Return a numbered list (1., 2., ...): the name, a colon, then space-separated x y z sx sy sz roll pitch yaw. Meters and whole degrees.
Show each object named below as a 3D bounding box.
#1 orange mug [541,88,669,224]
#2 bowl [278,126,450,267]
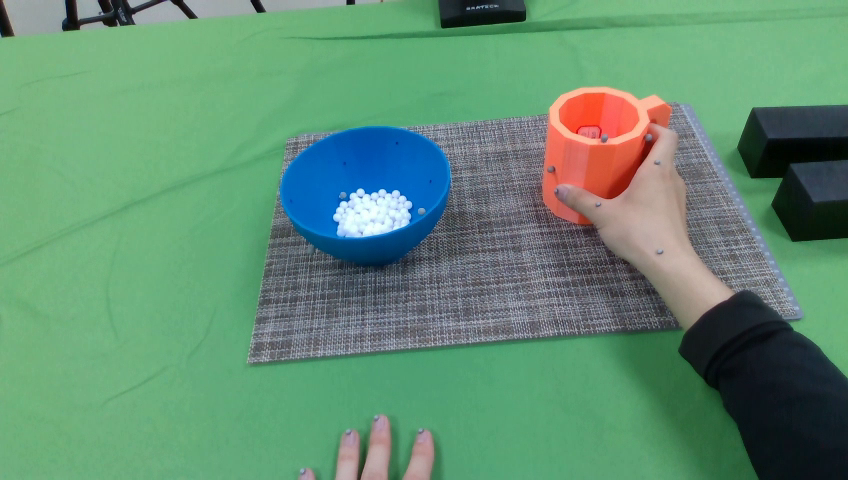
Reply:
1. orange mug: 0.172 -0.085 0.571 0.126 0.102 0.082 -25 50 -11
2. bowl: -0.049 -0.028 0.555 0.151 0.077 0.150 -3 47 4
